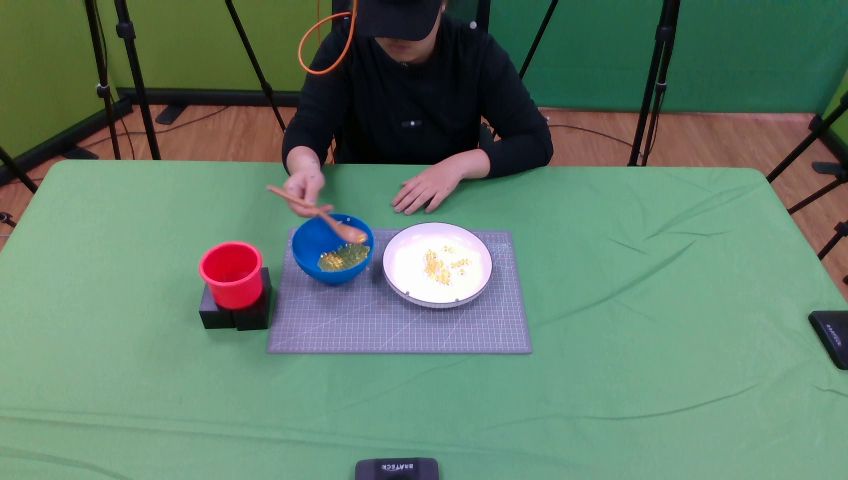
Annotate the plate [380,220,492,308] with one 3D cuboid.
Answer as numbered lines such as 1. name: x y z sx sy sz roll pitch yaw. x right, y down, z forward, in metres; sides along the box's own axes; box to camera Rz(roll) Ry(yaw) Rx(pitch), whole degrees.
1. plate: 0.022 0.048 1.138 0.208 0.039 0.206 2 46 -2

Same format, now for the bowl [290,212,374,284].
1. bowl: -0.166 0.028 1.116 0.151 0.077 0.150 2 46 -2

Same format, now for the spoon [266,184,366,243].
1. spoon: -0.183 -0.047 1.042 0.194 0.021 0.041 34 33 -25
